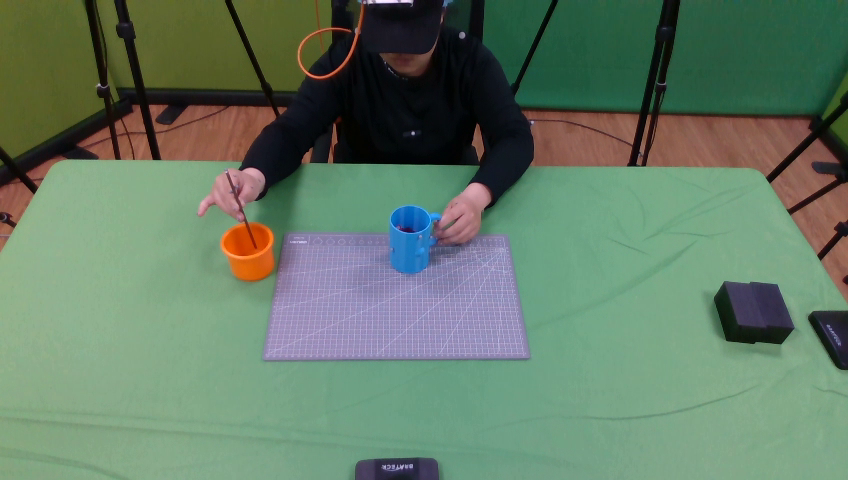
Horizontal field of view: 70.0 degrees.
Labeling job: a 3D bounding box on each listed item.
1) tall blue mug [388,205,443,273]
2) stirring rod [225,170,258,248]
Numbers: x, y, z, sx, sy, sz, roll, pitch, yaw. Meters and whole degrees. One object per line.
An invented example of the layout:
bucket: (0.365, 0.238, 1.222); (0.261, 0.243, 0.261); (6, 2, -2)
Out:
tall blue mug: (-0.020, -0.010, 1.144); (0.077, 0.108, 0.107); (23, 49, 18)
stirring rod: (-0.317, -0.050, 1.057); (0.006, 0.177, 0.014); (-29, 49, -22)
